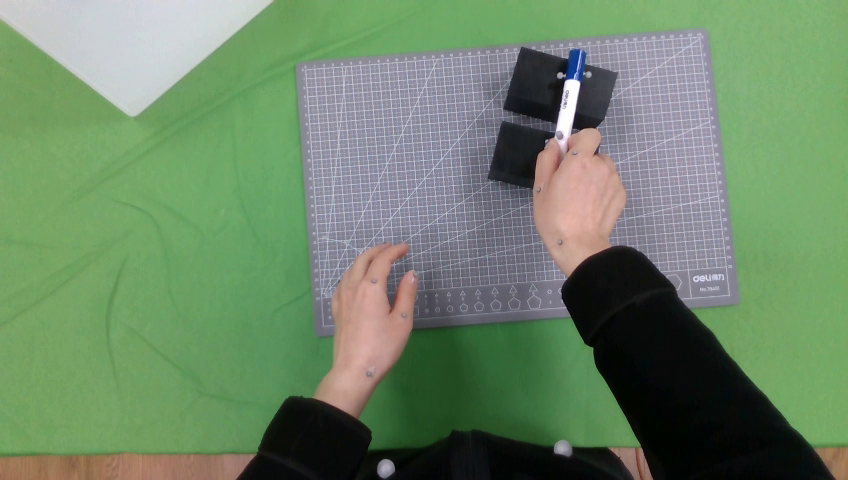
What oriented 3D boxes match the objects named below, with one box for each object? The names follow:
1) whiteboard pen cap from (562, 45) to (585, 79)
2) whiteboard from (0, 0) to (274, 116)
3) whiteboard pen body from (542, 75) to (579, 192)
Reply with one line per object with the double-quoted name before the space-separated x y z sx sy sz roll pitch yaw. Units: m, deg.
"whiteboard pen cap" 0.146 -0.172 0.595 0.018 0.018 0.033 12 84 2
"whiteboard" -0.314 -0.304 0.554 0.217 0.308 0.142 -40 66 -1
"whiteboard pen body" 0.135 -0.115 0.589 0.017 0.017 0.140 12 84 2
